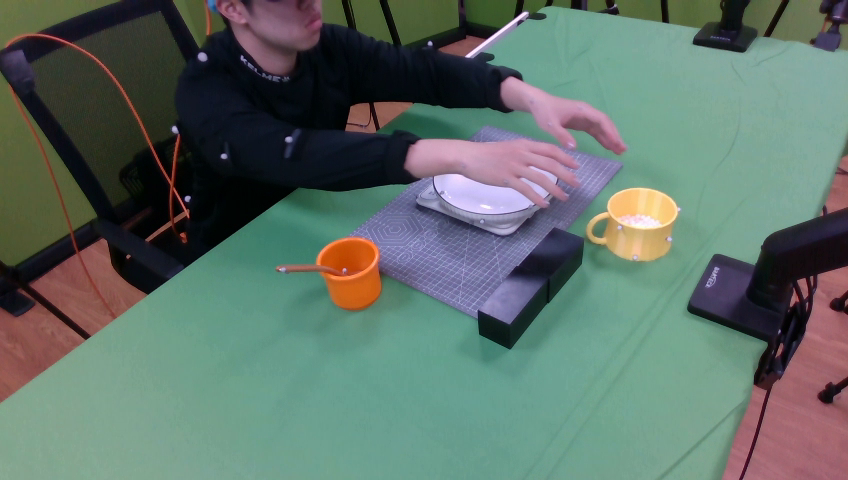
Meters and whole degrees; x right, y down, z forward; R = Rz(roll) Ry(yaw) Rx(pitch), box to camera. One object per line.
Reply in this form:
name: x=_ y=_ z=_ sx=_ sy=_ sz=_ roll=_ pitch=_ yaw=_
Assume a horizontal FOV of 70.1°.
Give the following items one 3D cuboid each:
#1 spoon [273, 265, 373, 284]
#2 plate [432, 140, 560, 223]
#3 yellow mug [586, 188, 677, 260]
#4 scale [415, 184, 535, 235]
spoon: x=-0.136 y=0.045 z=0.839 sx=0.041 sy=0.195 sz=0.021 roll=17 pitch=91 yaw=33
plate: x=0.118 y=-0.094 z=0.999 sx=0.209 sy=0.038 sz=0.208 roll=-5 pitch=41 yaw=4
yellow mug: x=0.311 y=-0.022 z=0.916 sx=0.131 sy=0.064 sz=0.099 roll=-8 pitch=40 yaw=0
scale: x=0.099 y=-0.079 z=1.035 sx=0.199 sy=0.032 sz=0.149 roll=23 pitch=48 yaw=31
